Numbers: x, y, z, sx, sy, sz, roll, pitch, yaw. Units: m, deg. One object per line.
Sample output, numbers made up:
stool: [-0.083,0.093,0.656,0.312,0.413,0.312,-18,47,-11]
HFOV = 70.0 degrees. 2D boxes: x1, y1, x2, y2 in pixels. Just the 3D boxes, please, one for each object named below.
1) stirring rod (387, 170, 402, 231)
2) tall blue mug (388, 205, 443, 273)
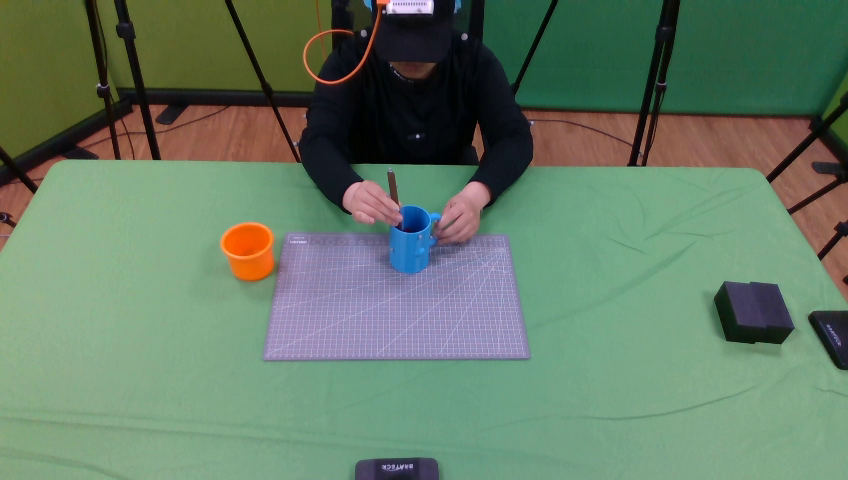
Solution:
stirring rod: [-0.049,-0.046,1.068,0.014,0.177,0.006,13,41,24]
tall blue mug: [-0.020,-0.010,1.144,0.077,0.108,0.107,23,49,18]
